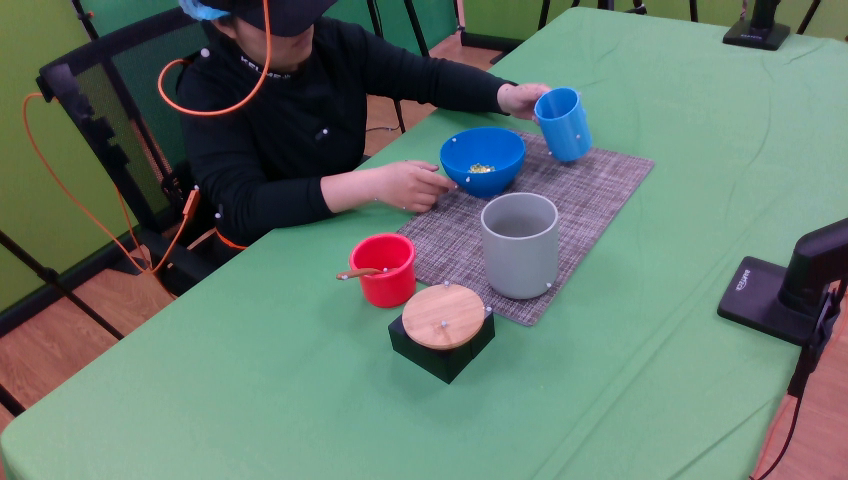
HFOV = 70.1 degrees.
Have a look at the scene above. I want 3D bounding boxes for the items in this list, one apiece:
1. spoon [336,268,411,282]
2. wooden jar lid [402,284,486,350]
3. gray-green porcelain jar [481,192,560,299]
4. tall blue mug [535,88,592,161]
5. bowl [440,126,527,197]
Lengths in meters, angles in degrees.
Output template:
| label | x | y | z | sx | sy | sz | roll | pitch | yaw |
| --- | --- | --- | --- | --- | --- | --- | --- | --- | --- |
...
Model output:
| label | x | y | z | sx | sy | sz | roll | pitch | yaw |
| --- | --- | --- | --- | --- | --- | --- | --- | --- | --- |
| spoon | -0.071 | 0.047 | 0.850 | 0.041 | 0.195 | 0.021 | 19 | 93 | 24 |
| wooden jar lid | 0.026 | 0.101 | 0.786 | 0.108 | 0.021 | 0.108 | -5 | 39 | 4 |
| gray-green porcelain jar | 0.138 | 0.012 | 0.858 | 0.106 | 0.127 | 0.105 | -6 | 40 | 5 |
| tall blue mug | 0.237 | -0.207 | 1.074 | 0.106 | 0.109 | 0.078 | 24 | 71 | 39 |
| bowl | 0.107 | -0.129 | 1.070 | 0.151 | 0.077 | 0.150 | -5 | 40 | 5 |
